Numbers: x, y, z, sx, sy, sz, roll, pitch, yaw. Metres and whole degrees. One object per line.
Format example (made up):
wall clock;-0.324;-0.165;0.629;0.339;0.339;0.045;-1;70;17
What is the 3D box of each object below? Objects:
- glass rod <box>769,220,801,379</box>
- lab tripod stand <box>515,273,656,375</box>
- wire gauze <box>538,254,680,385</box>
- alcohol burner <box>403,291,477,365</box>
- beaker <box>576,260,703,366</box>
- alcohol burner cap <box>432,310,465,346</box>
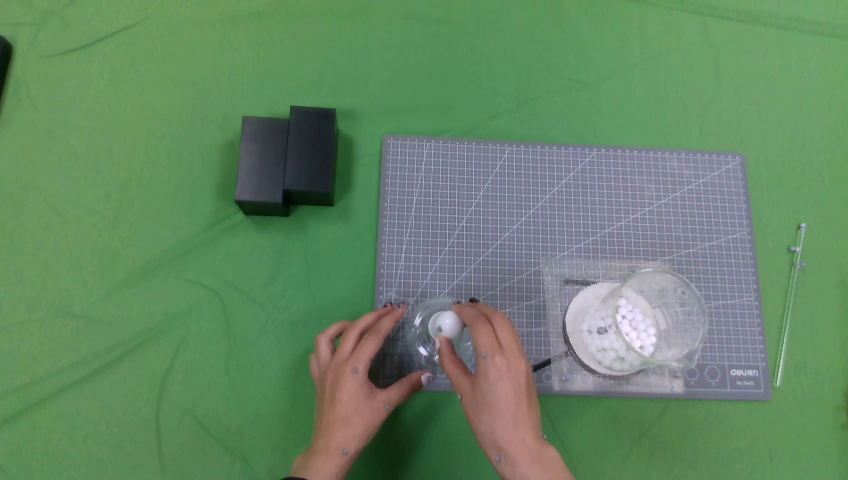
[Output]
glass rod;0.426;0.066;0.714;0.008;0.008;0.199;18;75;1
lab tripod stand;0.165;0.091;0.619;0.148;0.132;0.147;1;74;-2
wire gauze;0.170;0.071;0.557;0.125;0.011;0.120;1;73;-2
alcohol burner;0.018;0.087;0.620;0.078;0.119;0.077;1;72;-4
beaker;0.176;0.068;0.508;0.074;0.100;0.083;-29;78;-11
alcohol burner cap;0.024;0.084;0.583;0.034;0.048;0.033;0;74;0
